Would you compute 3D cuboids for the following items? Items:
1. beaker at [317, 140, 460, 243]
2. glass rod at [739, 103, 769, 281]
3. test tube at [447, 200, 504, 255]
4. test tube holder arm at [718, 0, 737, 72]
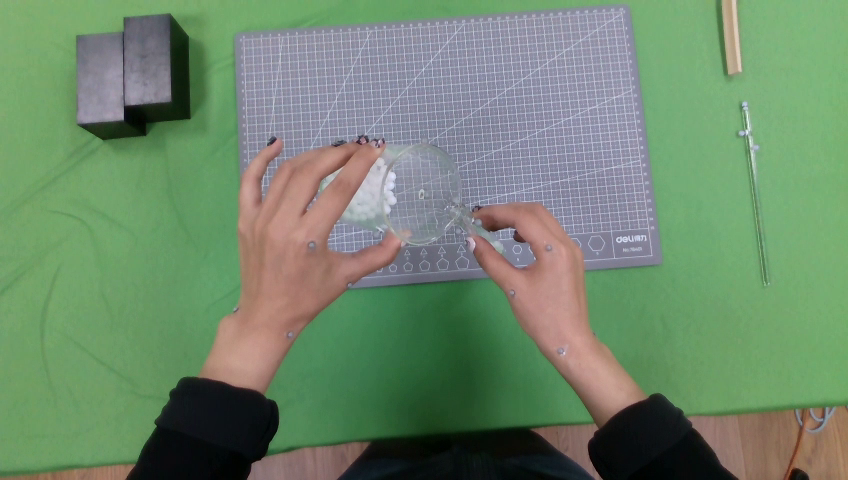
[{"bbox_3d":[-0.030,-0.041,0.475,0.085,0.099,0.074,21,87,-40],"label":"beaker"},{"bbox_3d":[0.360,-0.054,0.661,0.008,0.008,0.199,-3,82,0],"label":"glass rod"},{"bbox_3d":[0.049,-0.007,0.536,0.017,0.151,0.017,-4,76,19],"label":"test tube"},{"bbox_3d":[0.341,-0.277,0.685,0.013,0.015,0.178,6,81,-28],"label":"test tube holder arm"}]
